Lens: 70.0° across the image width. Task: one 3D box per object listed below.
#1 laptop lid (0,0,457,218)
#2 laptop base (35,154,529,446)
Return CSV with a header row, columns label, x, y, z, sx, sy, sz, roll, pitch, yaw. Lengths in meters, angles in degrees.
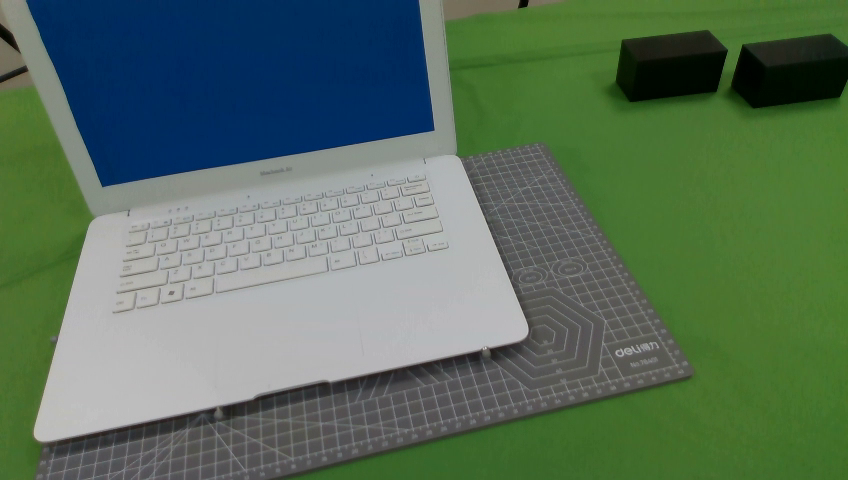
label,x,y,z,sx,sy,sz,roll,pitch,yaw
laptop lid,-0.153,-0.150,0.533,0.357,0.244,0.013,-12,30,-5
laptop base,-0.115,0.031,0.508,0.355,0.023,0.233,-11,47,-6
